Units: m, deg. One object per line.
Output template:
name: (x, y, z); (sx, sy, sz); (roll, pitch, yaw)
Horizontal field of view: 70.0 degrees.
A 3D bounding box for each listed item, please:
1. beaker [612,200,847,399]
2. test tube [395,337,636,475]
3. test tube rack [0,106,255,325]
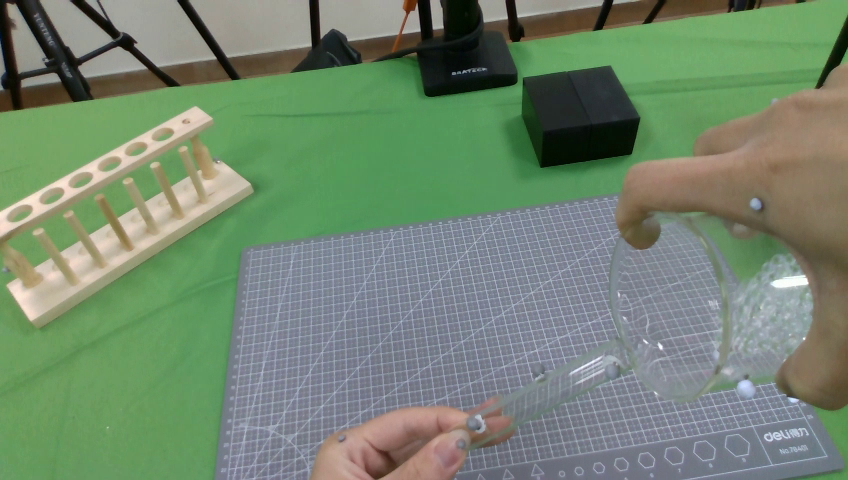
beaker: (0.139, 0.022, 0.249); (0.100, 0.084, 0.073); (-5, 53, -13)
test tube: (0.038, 0.087, 0.304); (0.150, 0.017, 0.017); (-37, 39, 29)
test tube rack: (-0.298, -0.031, 0.602); (0.242, 0.086, 0.066); (-38, 55, -25)
